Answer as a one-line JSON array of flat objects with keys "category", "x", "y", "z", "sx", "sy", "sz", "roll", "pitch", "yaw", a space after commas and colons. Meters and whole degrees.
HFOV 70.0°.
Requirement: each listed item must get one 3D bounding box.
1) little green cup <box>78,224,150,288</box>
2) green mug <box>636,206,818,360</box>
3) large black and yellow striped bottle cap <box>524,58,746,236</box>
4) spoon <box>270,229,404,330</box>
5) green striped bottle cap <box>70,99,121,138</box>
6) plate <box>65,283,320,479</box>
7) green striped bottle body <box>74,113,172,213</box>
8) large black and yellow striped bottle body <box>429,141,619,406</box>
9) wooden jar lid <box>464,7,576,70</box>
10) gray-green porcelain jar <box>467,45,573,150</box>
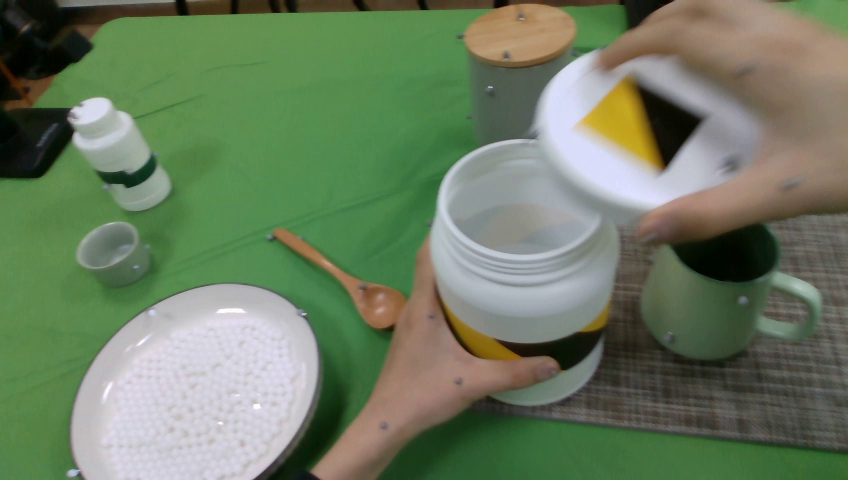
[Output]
[{"category": "little green cup", "x": -0.315, "y": 0.018, "z": 0.621, "sx": 0.061, "sy": 0.039, "sz": 0.061, "roll": -4, "pitch": 49, "yaw": 5}, {"category": "green mug", "x": 0.237, "y": 0.041, "z": 0.476, "sx": 0.124, "sy": 0.106, "sz": 0.092, "roll": 21, "pitch": 56, "yaw": 23}, {"category": "large black and yellow striped bottle cap", "x": 0.112, "y": -0.054, "z": 0.327, "sx": 0.115, "sy": 0.019, "sz": 0.114, "roll": 0, "pitch": 57, "yaw": 1}, {"category": "spoon", "x": -0.091, "y": 0.030, "z": 0.590, "sx": 0.192, "sy": 0.022, "sz": 0.041, "roll": 33, "pitch": 76, "yaw": 29}, {"category": "green striped bottle cap", "x": -0.336, "y": -0.124, "z": 0.621, "sx": 0.044, "sy": 0.020, "sz": 0.044, "roll": -2, "pitch": 52, "yaw": 3}, {"category": "plate", "x": -0.187, "y": 0.130, "z": 0.511, "sx": 0.209, "sy": 0.038, "sz": 0.207, "roll": -4, "pitch": 50, "yaw": 5}, {"category": "green striped bottle body", "x": -0.330, "y": -0.090, "z": 0.660, "sx": 0.063, "sy": 0.120, "sz": 0.062, "roll": -4, "pitch": 50, "yaw": 5}, {"category": "large black and yellow striped bottle body", "x": 0.073, "y": 0.029, "z": 0.457, "sx": 0.130, "sy": 0.186, "sz": 0.129, "roll": -4, "pitch": 50, "yaw": 5}, {"category": "wooden jar lid", "x": 0.095, "y": -0.195, "z": 0.599, "sx": 0.108, "sy": 0.021, "sz": 0.107, "roll": -6, "pitch": 48, "yaw": 7}, {"category": "gray-green porcelain jar", "x": 0.101, "y": -0.152, "z": 0.644, "sx": 0.106, "sy": 0.128, "sz": 0.105, "roll": -4, "pitch": 46, "yaw": 4}]
